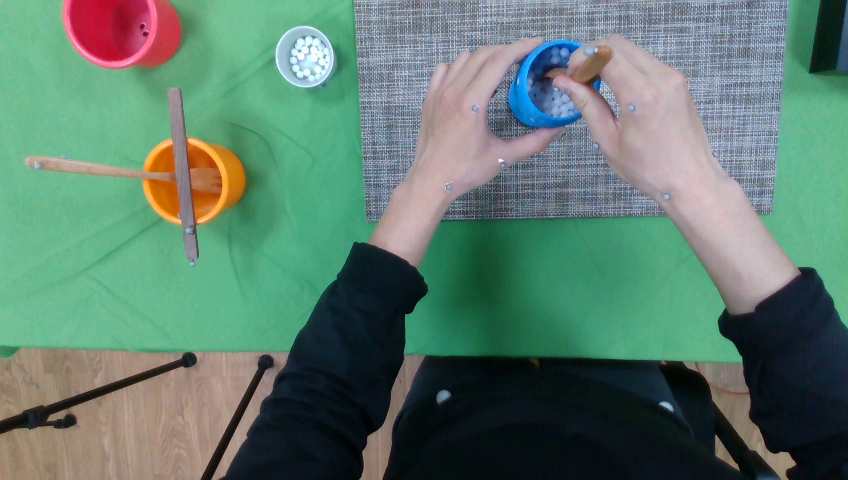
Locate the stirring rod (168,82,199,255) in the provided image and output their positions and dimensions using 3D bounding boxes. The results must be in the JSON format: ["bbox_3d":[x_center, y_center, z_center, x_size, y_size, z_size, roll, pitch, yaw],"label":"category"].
[{"bbox_3d":[-0.246,-0.072,0.622,0.014,0.006,0.176,-1,101,4],"label":"stirring rod"}]

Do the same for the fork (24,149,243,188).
[{"bbox_3d":[-0.289,-0.075,0.626,0.209,0.018,0.028,2,113,-41],"label":"fork"}]

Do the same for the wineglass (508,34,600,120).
[{"bbox_3d":[0.116,-0.148,0.570,0.073,0.172,0.074,1,100,4],"label":"wineglass"}]

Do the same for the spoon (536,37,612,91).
[{"bbox_3d":[0.115,-0.130,0.460,0.041,0.193,0.022,16,101,0],"label":"spoon"}]

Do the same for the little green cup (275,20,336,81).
[{"bbox_3d":[-0.124,-0.199,0.647,0.061,0.038,0.062,1,102,4],"label":"little green cup"}]
